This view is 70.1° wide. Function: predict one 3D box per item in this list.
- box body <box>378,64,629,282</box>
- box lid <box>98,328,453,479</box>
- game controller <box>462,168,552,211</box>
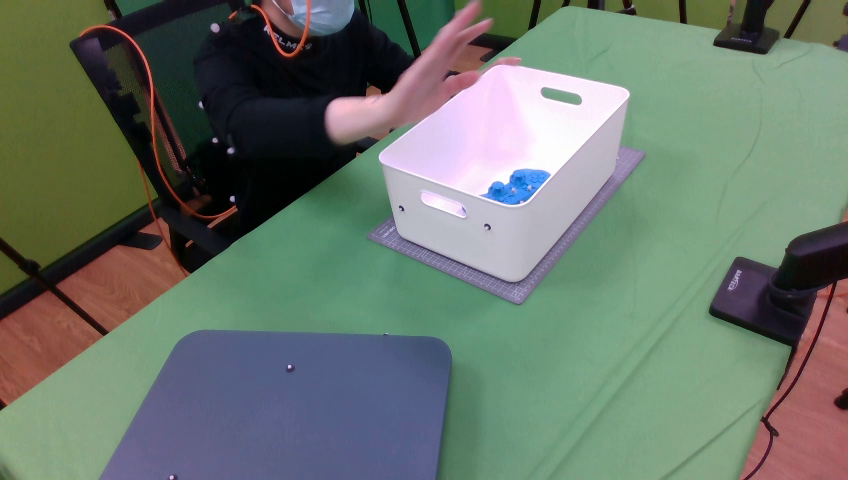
[{"bbox_3d":[0.137,-0.121,0.978,0.252,0.161,0.365,22,49,30],"label":"box body"},{"bbox_3d":[-0.157,0.209,0.690,0.371,0.015,0.262,1,41,9],"label":"box lid"},{"bbox_3d":[0.147,-0.079,1.007,0.156,0.052,0.096,-29,50,-24],"label":"game controller"}]
